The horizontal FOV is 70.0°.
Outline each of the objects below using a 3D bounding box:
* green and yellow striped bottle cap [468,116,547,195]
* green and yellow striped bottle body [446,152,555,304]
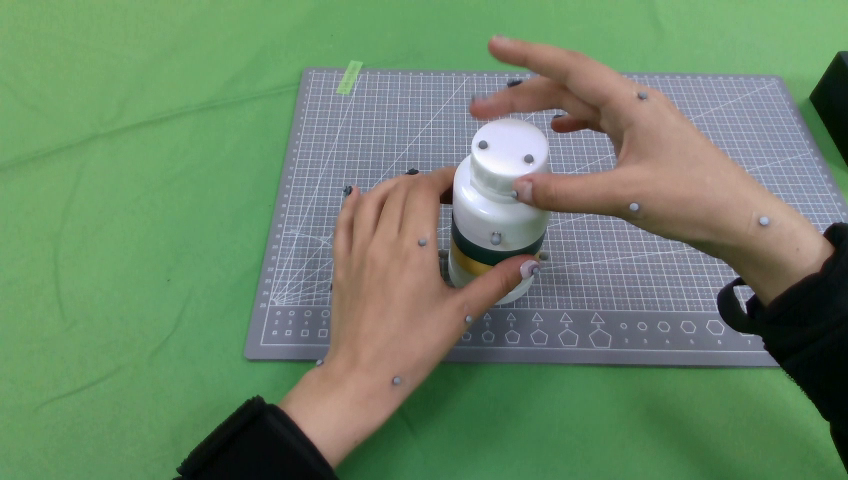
[{"bbox_3d":[0.047,-0.049,0.344,0.045,0.020,0.045,-1,60,2],"label":"green and yellow striped bottle cap"},{"bbox_3d":[0.047,-0.014,0.390,0.063,0.121,0.062,0,54,0],"label":"green and yellow striped bottle body"}]
